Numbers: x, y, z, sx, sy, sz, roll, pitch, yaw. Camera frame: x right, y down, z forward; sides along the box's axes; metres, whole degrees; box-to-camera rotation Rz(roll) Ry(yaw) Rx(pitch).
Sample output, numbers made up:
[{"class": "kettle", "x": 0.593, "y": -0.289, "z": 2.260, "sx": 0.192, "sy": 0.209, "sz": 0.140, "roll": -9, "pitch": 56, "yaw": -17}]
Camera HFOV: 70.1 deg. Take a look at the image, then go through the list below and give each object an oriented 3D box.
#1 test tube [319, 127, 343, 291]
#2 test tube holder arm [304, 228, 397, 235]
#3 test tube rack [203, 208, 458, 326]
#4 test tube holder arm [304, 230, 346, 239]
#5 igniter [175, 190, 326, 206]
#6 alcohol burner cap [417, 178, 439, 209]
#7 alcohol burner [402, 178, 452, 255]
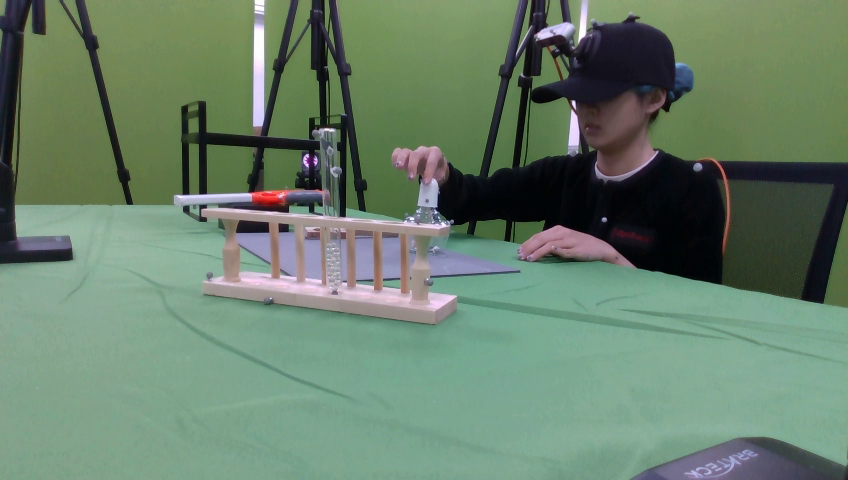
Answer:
[{"class": "test tube", "x": -0.084, "y": -0.027, "z": 0.552, "sx": 0.017, "sy": 0.150, "sz": 0.017, "roll": -1, "pitch": 8, "yaw": 0}, {"class": "test tube holder arm", "x": -0.126, "y": -0.014, "z": 1.068, "sx": 0.179, "sy": 0.015, "sz": 0.013, "roll": -2, "pitch": 46, "yaw": -34}, {"class": "test tube rack", "x": -0.090, "y": 0.019, "z": 0.579, "sx": 0.242, "sy": 0.085, "sz": 0.067, "roll": 5, "pitch": 7, "yaw": 19}, {"class": "test tube holder arm", "x": -0.162, "y": -0.010, "z": 1.040, "sx": 0.088, "sy": 0.015, "sz": 0.010, "roll": 0, "pitch": 45, "yaw": -32}, {"class": "igniter", "x": -0.315, "y": -0.079, "z": 1.128, "sx": 0.278, "sy": 0.025, "sz": 0.057, "roll": -5, "pitch": 13, "yaw": -34}, {"class": "alcohol burner cap", "x": 0.008, "y": -0.071, "z": 0.917, "sx": 0.034, "sy": 0.048, "sz": 0.034, "roll": 5, "pitch": 6, "yaw": 0}, {"class": "alcohol burner", "x": 0.005, "y": -0.036, "z": 0.922, "sx": 0.078, "sy": 0.119, "sz": 0.078, "roll": 5, "pitch": 7, "yaw": 0}]
